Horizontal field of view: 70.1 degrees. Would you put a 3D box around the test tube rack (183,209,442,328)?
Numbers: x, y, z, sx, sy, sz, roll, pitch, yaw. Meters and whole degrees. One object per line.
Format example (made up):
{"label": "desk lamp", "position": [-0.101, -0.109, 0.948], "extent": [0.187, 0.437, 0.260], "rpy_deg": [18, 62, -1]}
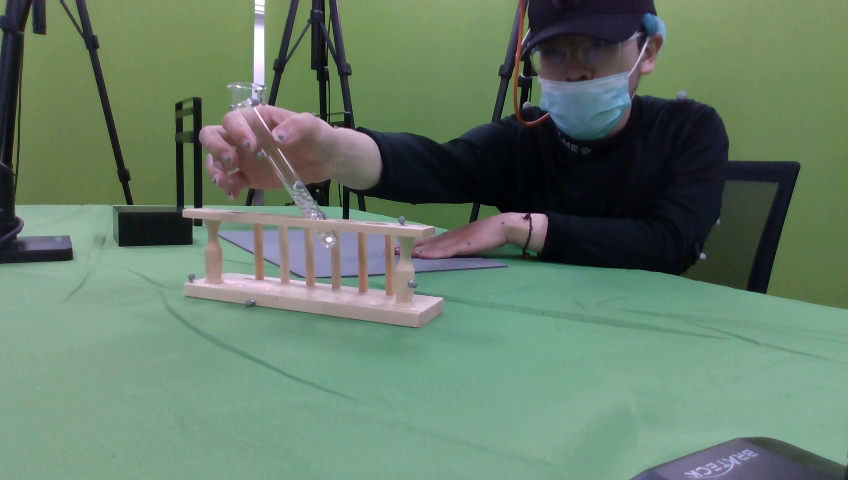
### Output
{"label": "test tube rack", "position": [-0.106, 0.019, 0.569], "extent": [0.241, 0.085, 0.067], "rpy_deg": [5, 7, 20]}

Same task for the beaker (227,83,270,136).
{"label": "beaker", "position": [-0.354, -0.262, 1.224], "extent": [0.084, 0.100, 0.073], "rpy_deg": [-2, 8, -28]}

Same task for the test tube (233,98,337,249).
{"label": "test tube", "position": [-0.120, -0.055, 0.531], "extent": [0.017, 0.150, 0.017], "rpy_deg": [-27, 16, 9]}
